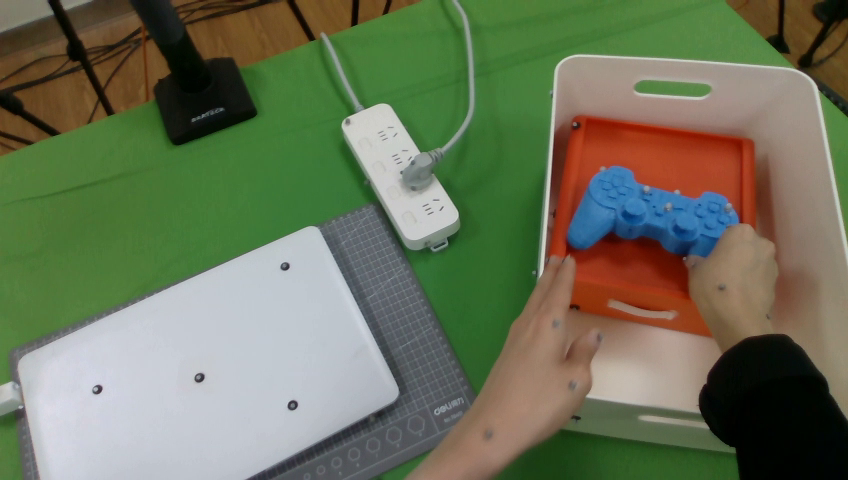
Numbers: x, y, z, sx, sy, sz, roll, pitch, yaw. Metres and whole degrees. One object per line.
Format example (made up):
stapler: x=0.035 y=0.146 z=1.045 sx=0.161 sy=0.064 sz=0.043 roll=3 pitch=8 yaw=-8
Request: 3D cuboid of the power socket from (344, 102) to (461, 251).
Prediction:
power socket: x=-0.030 y=-0.084 z=0.748 sx=0.072 sy=0.033 sz=0.224 roll=-24 pitch=62 yaw=-10

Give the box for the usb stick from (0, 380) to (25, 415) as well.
usb stick: x=-0.437 y=0.165 z=0.634 sx=0.059 sy=0.027 sz=0.021 roll=-22 pitch=57 yaw=-11

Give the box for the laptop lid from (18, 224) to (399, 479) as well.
laptop lid: x=-0.230 y=0.143 z=0.632 sx=0.357 sy=0.013 sz=0.239 roll=-24 pitch=65 yaw=-9

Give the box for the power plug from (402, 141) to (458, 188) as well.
power plug: x=0.010 y=-0.082 z=0.718 sx=0.072 sy=0.053 sz=0.035 roll=-14 pitch=60 yaw=-5

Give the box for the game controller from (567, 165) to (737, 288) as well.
game controller: x=0.229 y=-0.020 z=0.600 sx=0.154 sy=0.052 sz=0.096 roll=19 pitch=59 yaw=13

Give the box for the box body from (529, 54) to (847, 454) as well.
box body: x=0.241 y=0.009 z=0.603 sx=0.254 sy=0.162 sz=0.361 roll=6 pitch=62 yaw=7

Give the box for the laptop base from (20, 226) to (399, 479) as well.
laptop base: x=-0.230 y=0.146 z=0.644 sx=0.354 sy=0.023 sz=0.233 roll=-26 pitch=66 yaw=-10
